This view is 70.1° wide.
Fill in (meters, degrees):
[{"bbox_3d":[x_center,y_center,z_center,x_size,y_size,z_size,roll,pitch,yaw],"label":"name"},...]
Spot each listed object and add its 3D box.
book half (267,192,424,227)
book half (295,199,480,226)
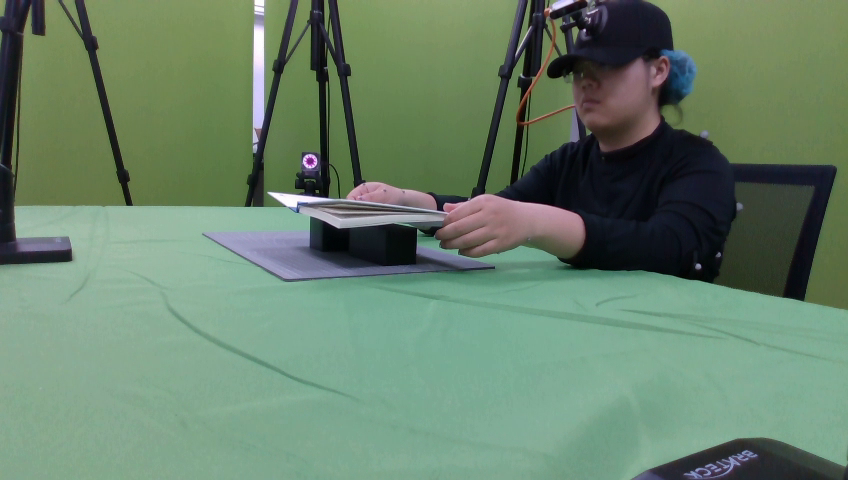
[{"bbox_3d":[-0.123,-0.048,0.944,0.211,0.007,0.142,4,13,-32],"label":"book half"},{"bbox_3d":[-0.049,-0.035,0.825,0.211,0.016,0.148,6,-2,-32],"label":"book half"}]
